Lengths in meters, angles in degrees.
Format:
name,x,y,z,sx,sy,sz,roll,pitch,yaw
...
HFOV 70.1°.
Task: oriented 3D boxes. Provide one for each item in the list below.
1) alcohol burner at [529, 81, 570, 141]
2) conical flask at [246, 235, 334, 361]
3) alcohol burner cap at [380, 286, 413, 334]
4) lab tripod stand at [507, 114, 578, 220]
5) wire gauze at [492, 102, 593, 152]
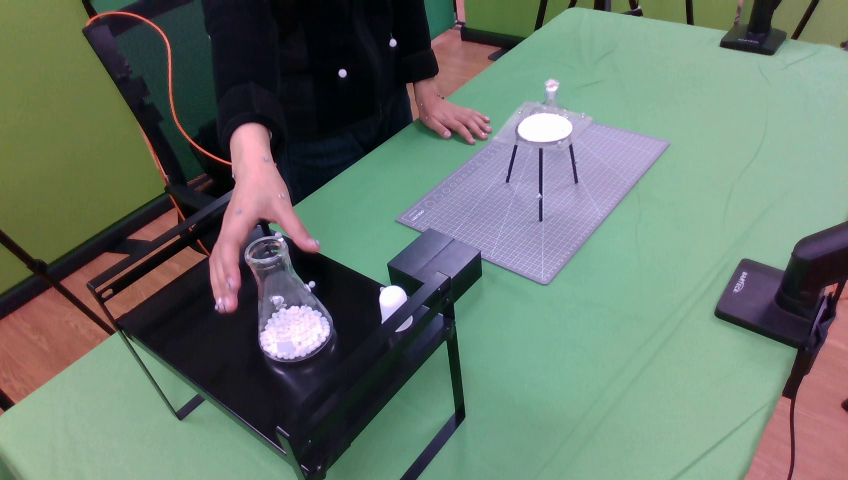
name,x,y,z,sx,sy,sz,roll,pitch,yaw
alcohol burner,0.241,-0.251,1.159,0.078,0.119,0.077,-3,42,4
conical flask,-0.134,0.053,0.577,0.075,0.122,0.075,-5,40,4
alcohol burner cap,-0.029,0.068,0.605,0.034,0.048,0.033,-5,40,4
lab tripod stand,0.198,-0.128,1.005,0.148,0.132,0.147,-3,42,3
wire gauze,0.190,-0.180,0.964,0.120,0.011,0.125,19,47,27
